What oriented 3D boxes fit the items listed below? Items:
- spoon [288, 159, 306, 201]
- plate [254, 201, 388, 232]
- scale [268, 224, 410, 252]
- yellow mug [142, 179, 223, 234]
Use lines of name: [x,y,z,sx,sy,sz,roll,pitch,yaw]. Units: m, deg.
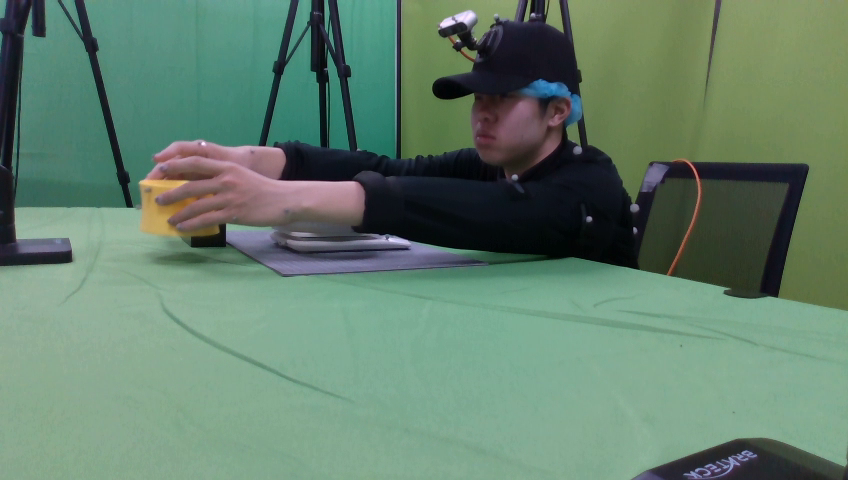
spoon: [-0.260,-0.103,1.268,0.042,0.193,0.021,3,-39,-33]
plate: [-0.162,-0.037,0.961,0.209,0.038,0.209,2,6,0]
scale: [-0.138,-0.006,0.979,0.202,0.031,0.148,-1,8,-30]
yellow mug: [-0.319,-0.048,0.829,0.099,0.064,0.131,7,8,18]
